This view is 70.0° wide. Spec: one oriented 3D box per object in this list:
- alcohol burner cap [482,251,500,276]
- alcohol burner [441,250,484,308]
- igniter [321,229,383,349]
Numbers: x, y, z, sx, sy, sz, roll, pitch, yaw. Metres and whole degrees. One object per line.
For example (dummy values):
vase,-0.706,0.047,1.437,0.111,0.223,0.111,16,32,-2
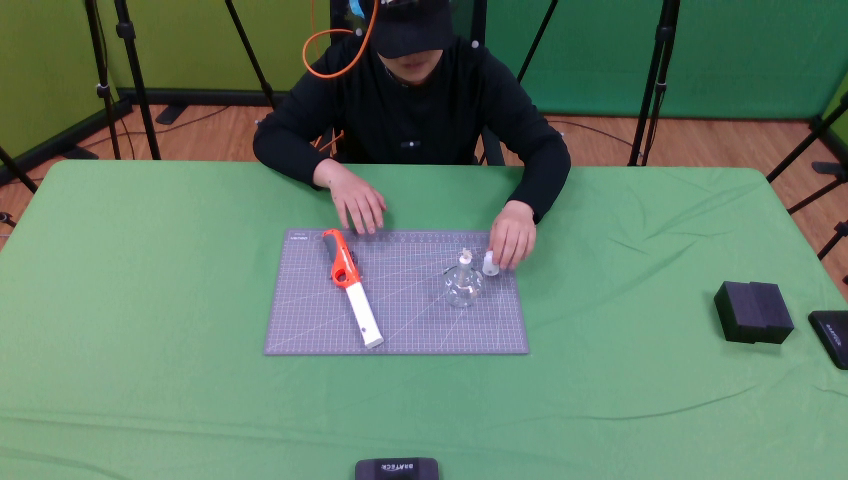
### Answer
alcohol burner cap,0.125,0.042,1.127,0.034,0.048,0.033,-2,43,2
alcohol burner,0.069,0.064,1.075,0.078,0.120,0.077,1,45,-1
igniter,-0.134,0.078,1.102,0.057,0.025,0.274,-28,53,0
